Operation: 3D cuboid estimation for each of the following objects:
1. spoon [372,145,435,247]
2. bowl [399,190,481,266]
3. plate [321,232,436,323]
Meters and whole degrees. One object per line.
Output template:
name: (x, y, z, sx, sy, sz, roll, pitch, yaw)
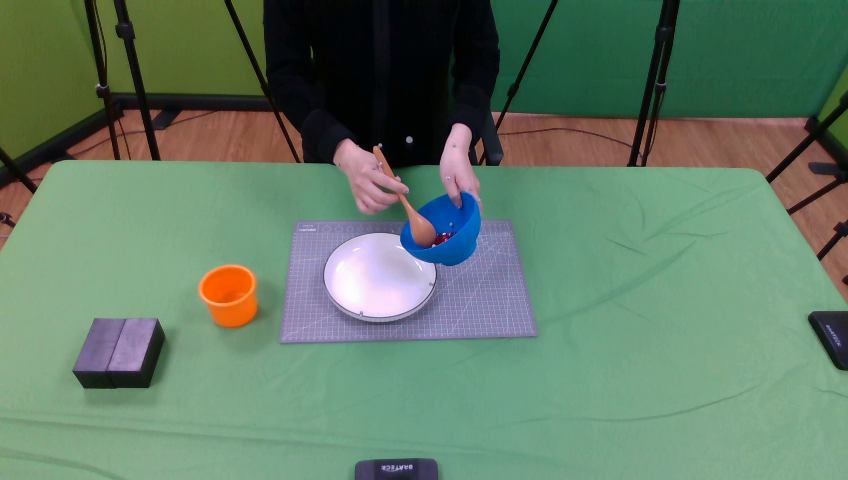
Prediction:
spoon: (-0.037, -0.071, 1.000, 0.041, 0.194, 0.021, -32, 15, -7)
bowl: (0.040, -0.008, 1.046, 0.151, 0.077, 0.150, -25, 31, 17)
plate: (-0.082, 0.070, 1.109, 0.209, 0.038, 0.208, 3, 46, -3)
